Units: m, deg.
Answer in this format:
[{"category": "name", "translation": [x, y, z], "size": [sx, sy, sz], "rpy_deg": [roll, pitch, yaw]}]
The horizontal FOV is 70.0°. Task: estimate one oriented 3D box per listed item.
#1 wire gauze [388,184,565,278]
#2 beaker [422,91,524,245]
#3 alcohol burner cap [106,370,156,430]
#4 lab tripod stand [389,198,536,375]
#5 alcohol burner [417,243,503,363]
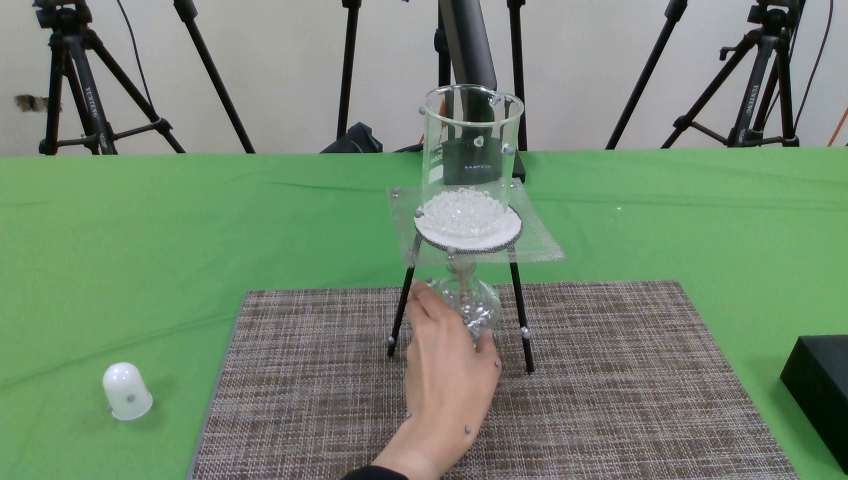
[{"category": "wire gauze", "translation": [0.037, -0.010, 0.489], "size": [0.125, 0.011, 0.120], "rpy_deg": [-1, 36, -10]}, {"category": "beaker", "translation": [0.036, -0.055, 0.468], "size": [0.073, 0.101, 0.084], "rpy_deg": [20, 38, 23]}, {"category": "alcohol burner cap", "translation": [-0.240, 0.127, 0.491], "size": [0.034, 0.048, 0.033], "rpy_deg": [1, 35, 0]}, {"category": "lab tripod stand", "translation": [0.041, 0.041, 0.531], "size": [0.148, 0.132, 0.147], "rpy_deg": [2, 34, -1]}, {"category": "alcohol burner", "translation": [0.033, 0.051, 0.534], "size": [0.078, 0.120, 0.077], "rpy_deg": [1, 35, -1]}]
